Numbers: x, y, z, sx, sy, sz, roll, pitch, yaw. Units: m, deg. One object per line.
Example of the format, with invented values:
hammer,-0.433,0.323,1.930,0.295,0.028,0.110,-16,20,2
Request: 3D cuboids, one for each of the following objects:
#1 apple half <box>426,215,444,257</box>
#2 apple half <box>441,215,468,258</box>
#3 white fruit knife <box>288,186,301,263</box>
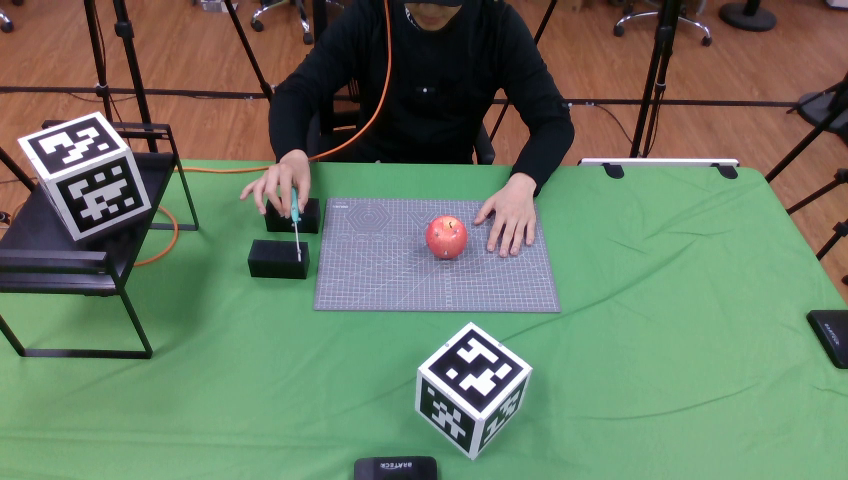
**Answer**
apple half,0.019,-0.005,1.158,0.033,0.081,0.081,3,46,-7
apple half,0.058,-0.004,1.162,0.053,0.075,0.080,4,41,-6
white fruit knife,-0.241,-0.034,1.138,0.016,0.027,0.206,-9,47,-9
